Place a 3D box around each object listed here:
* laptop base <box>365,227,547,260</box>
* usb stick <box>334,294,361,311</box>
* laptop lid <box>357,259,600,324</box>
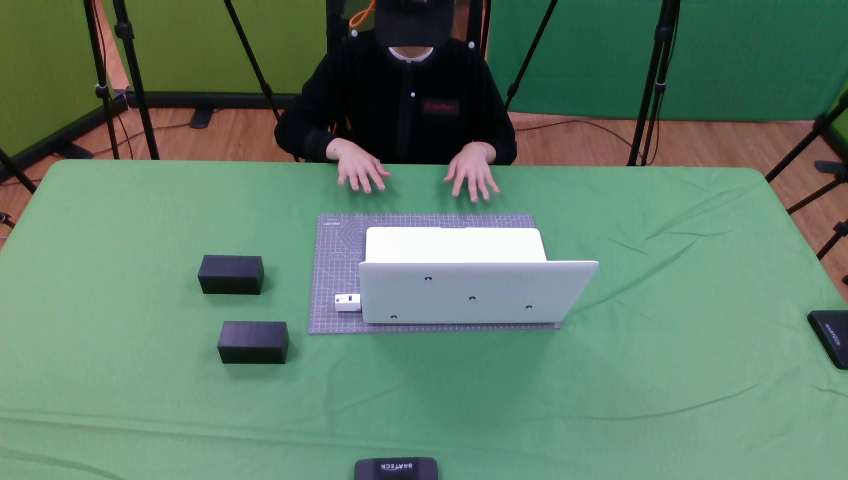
[{"bbox_3d":[0.065,0.062,1.144,0.355,0.023,0.234,0,43,-4],"label":"laptop base"},{"bbox_3d":[-0.128,0.110,1.066,0.059,0.027,0.021,1,45,-5],"label":"usb stick"},{"bbox_3d":[0.075,0.087,0.959,0.357,0.242,0.013,1,60,-5],"label":"laptop lid"}]
